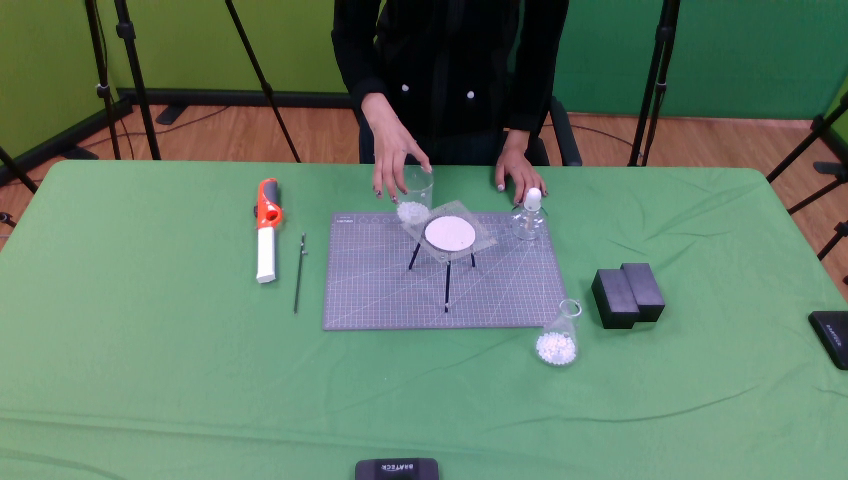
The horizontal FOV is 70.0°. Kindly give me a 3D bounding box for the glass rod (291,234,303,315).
[{"bbox_3d":[-0.236,0.059,1.133,0.008,0.008,0.198,-1,46,-4],"label":"glass rod"}]

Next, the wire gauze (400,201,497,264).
[{"bbox_3d":[0.042,-0.014,1.042,0.125,0.011,0.120,-22,50,-25],"label":"wire gauze"}]

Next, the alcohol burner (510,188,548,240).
[{"bbox_3d":[0.211,-0.057,1.204,0.078,0.120,0.077,1,47,-1],"label":"alcohol burner"}]

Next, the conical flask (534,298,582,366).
[{"bbox_3d":[0.229,0.149,1.005,0.075,0.122,0.075,2,46,-2],"label":"conical flask"}]

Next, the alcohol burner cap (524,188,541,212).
[{"bbox_3d":[0.212,-0.081,1.177,0.034,0.048,0.033,-2,54,3],"label":"alcohol burner cap"}]

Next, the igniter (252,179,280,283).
[{"bbox_3d":[-0.312,-0.027,1.197,0.057,0.025,0.274,-12,47,-2],"label":"igniter"}]

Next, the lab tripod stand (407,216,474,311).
[{"bbox_3d":[0.039,0.030,1.092,0.148,0.132,0.147,2,44,-2],"label":"lab tripod stand"}]

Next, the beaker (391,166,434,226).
[{"bbox_3d":[-0.023,-0.082,1.176,0.084,0.101,0.073,-14,49,-15],"label":"beaker"}]
